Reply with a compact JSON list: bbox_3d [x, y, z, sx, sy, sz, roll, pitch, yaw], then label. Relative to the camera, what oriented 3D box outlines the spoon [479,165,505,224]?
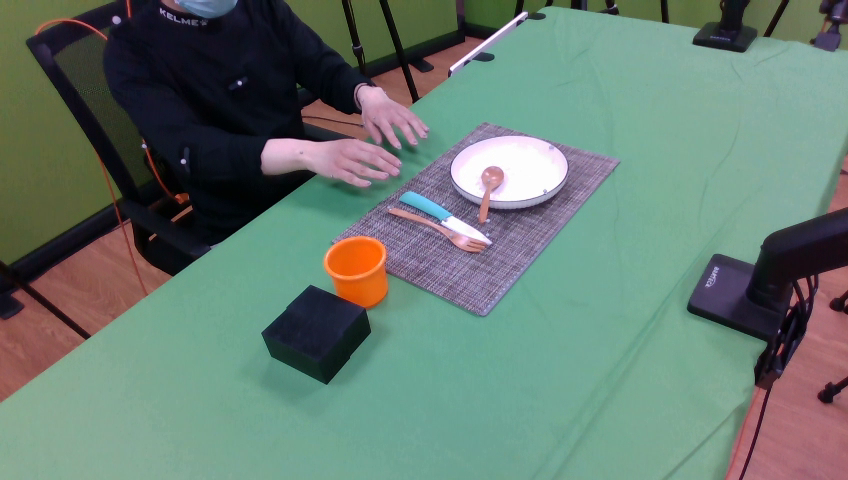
[{"bbox_3d":[0.107,-0.079,1.005,0.041,0.022,0.193,5,29,11],"label":"spoon"}]

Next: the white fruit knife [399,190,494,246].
[{"bbox_3d":[0.036,-0.038,1.009,0.205,0.016,0.027,32,84,34],"label":"white fruit knife"}]

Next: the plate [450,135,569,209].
[{"bbox_3d":[0.149,-0.117,1.066,0.209,0.038,0.208,-4,41,4],"label":"plate"}]

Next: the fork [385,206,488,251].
[{"bbox_3d":[0.015,-0.021,0.988,0.206,0.019,0.028,24,61,30],"label":"fork"}]
